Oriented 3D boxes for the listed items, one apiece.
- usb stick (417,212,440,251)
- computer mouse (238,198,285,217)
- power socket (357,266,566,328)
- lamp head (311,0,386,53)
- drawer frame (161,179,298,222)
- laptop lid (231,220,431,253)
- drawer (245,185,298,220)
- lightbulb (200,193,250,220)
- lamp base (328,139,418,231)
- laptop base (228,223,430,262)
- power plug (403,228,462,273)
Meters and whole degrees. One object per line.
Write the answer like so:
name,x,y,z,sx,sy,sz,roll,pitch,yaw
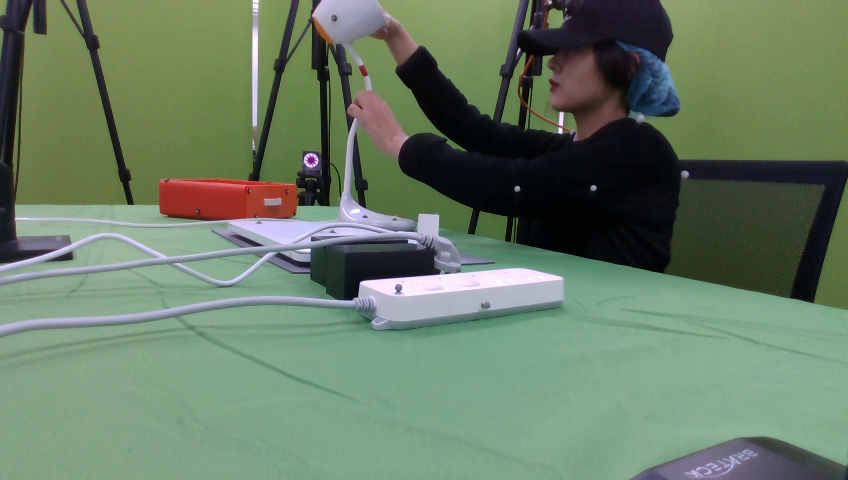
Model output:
usb stick,0.005,-0.003,0.722,0.027,0.059,0.021,0,-3,-3
computer mouse,-0.354,-0.072,1.326,0.063,0.041,0.117,3,3,11
power socket,0.042,0.049,0.573,0.228,0.032,0.072,-3,8,-34
lamp head,-0.146,-0.415,1.125,0.123,0.112,0.112,-38,5,5
drawer frame,-0.419,-0.089,1.328,0.213,0.082,0.202,4,8,18
laptop lid,-0.142,-0.009,0.942,0.243,0.013,0.355,1,7,-31
drawer,-0.416,-0.087,1.329,0.211,0.073,0.195,4,8,18
lightbulb,-0.433,-0.079,1.319,0.108,0.059,0.059,-17,13,-16
lamp base,-0.102,-0.112,1.212,0.180,0.180,0.160,-2,6,-13
laptop base,-0.145,0.003,0.943,0.237,0.023,0.352,2,6,-32
power plug,0.006,0.016,0.647,0.073,0.052,0.035,17,12,-6
